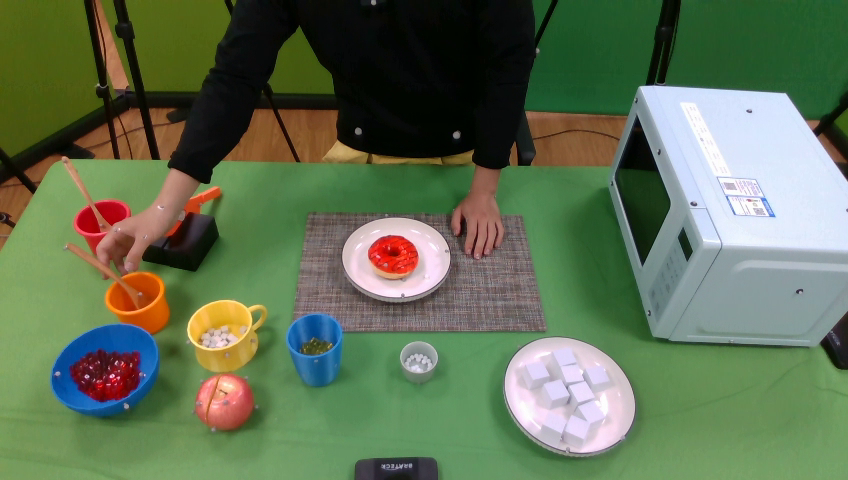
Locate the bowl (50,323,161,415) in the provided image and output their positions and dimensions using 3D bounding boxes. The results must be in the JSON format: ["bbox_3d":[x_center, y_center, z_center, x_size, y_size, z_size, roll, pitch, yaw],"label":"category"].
[{"bbox_3d":[-0.472,0.209,0.924,0.151,0.077,0.150,2,45,-2],"label":"bowl"}]

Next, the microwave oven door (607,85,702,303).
[{"bbox_3d":[0.423,-0.094,1.140,0.039,0.245,0.353,2,46,-1],"label":"microwave oven door"}]

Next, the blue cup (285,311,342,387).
[{"bbox_3d":[-0.170,0.180,0.958,0.093,0.101,0.092,1,44,-1],"label":"blue cup"}]

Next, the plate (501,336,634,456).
[{"bbox_3d":[0.225,0.249,0.963,0.208,0.039,0.206,2,46,-2],"label":"plate"}]

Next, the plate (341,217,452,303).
[{"bbox_3d":[-0.052,0.039,1.140,0.209,0.038,0.208,2,46,-2],"label":"plate"}]

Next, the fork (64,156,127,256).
[{"bbox_3d":[-0.614,-0.064,1.129,0.028,0.018,0.207,-30,97,-16],"label":"fork"}]

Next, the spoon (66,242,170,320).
[{"bbox_3d":[-0.505,0.067,1.004,0.021,0.195,0.041,-22,32,34],"label":"spoon"}]

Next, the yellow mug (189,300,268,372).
[{"bbox_3d":[-0.315,0.148,1.002,0.131,0.064,0.099,-33,55,-31],"label":"yellow mug"}]

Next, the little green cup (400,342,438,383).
[{"bbox_3d":[-0.010,0.202,0.991,0.061,0.039,0.061,2,47,-2],"label":"little green cup"}]

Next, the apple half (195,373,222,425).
[{"bbox_3d":[-0.322,0.240,0.907,0.033,0.081,0.081,5,46,1],"label":"apple half"}]

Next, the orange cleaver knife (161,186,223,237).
[{"bbox_3d":[-0.448,-0.058,1.180,0.012,0.077,0.211,13,18,6],"label":"orange cleaver knife"}]

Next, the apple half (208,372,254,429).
[{"bbox_3d":[-0.282,0.244,0.908,0.053,0.075,0.080,7,42,-1],"label":"apple half"}]

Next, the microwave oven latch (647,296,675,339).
[{"bbox_3d":[0.413,0.134,1.061,0.030,0.029,0.078,5,45,2],"label":"microwave oven latch"}]

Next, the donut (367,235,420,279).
[{"bbox_3d":[-0.057,0.032,1.132,0.099,0.048,0.098,3,45,-3],"label":"donut"}]

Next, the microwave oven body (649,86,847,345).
[{"bbox_3d":[0.568,-0.053,1.118,0.326,0.261,0.439,2,45,-1],"label":"microwave oven body"}]
